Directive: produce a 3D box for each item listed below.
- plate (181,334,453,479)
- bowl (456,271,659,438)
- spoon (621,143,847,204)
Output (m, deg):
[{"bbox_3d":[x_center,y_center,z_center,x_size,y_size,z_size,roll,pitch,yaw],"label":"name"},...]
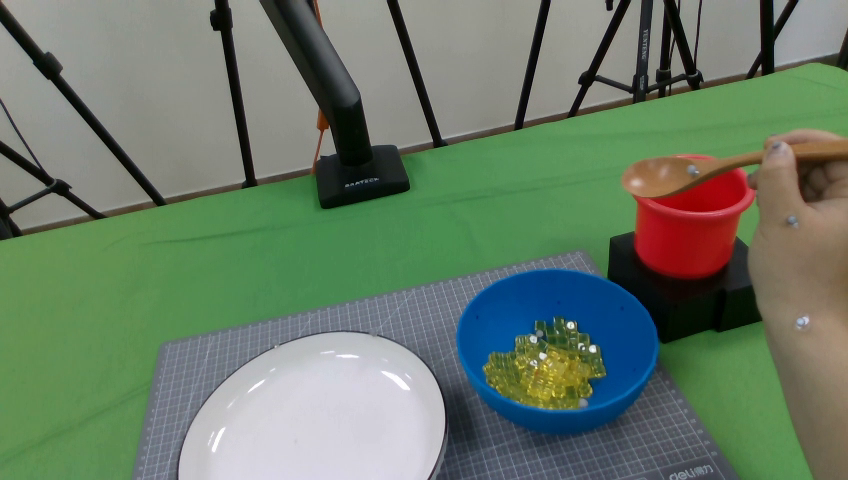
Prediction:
[{"bbox_3d":[-0.079,0.161,0.476,0.207,0.039,0.205,-6,37,5],"label":"plate"},{"bbox_3d":[0.104,0.102,0.481,0.151,0.077,0.150,-6,37,5],"label":"bowl"},{"bbox_3d":[0.210,-0.046,0.386,0.193,0.022,0.041,-5,46,57],"label":"spoon"}]
